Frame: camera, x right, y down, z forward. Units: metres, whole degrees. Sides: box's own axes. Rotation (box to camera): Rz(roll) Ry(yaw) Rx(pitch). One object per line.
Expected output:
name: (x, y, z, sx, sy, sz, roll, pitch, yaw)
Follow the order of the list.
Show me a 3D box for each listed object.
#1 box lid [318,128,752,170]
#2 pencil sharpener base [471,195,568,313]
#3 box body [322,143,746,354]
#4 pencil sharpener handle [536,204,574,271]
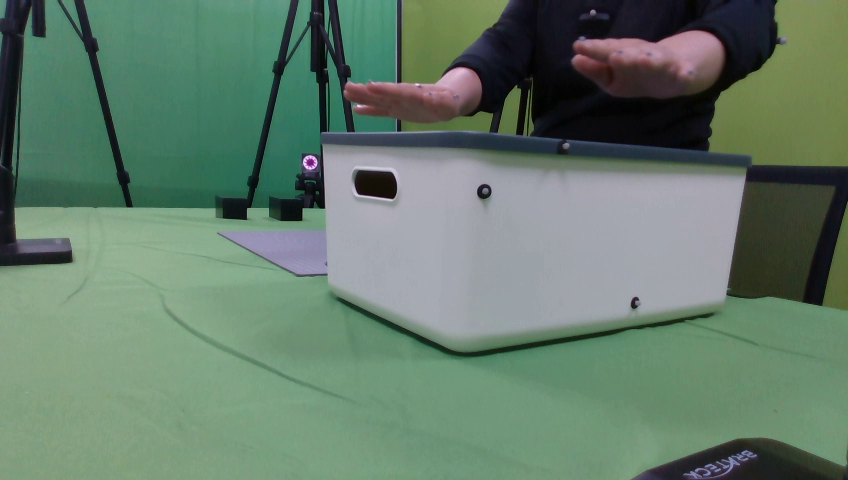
box lid: (0.107, -0.085, 0.594, 0.373, 0.015, 0.262, -1, 8, -34)
pencil sharpener base: (0.094, 0.011, 0.591, 0.077, 0.107, 0.061, -2, 8, -35)
box body: (0.106, -0.011, 0.603, 0.366, 0.160, 0.253, -2, 8, -34)
pencil sharpener handle: (0.138, -0.002, 0.617, 0.031, 0.067, 0.036, -2, 1, -35)
